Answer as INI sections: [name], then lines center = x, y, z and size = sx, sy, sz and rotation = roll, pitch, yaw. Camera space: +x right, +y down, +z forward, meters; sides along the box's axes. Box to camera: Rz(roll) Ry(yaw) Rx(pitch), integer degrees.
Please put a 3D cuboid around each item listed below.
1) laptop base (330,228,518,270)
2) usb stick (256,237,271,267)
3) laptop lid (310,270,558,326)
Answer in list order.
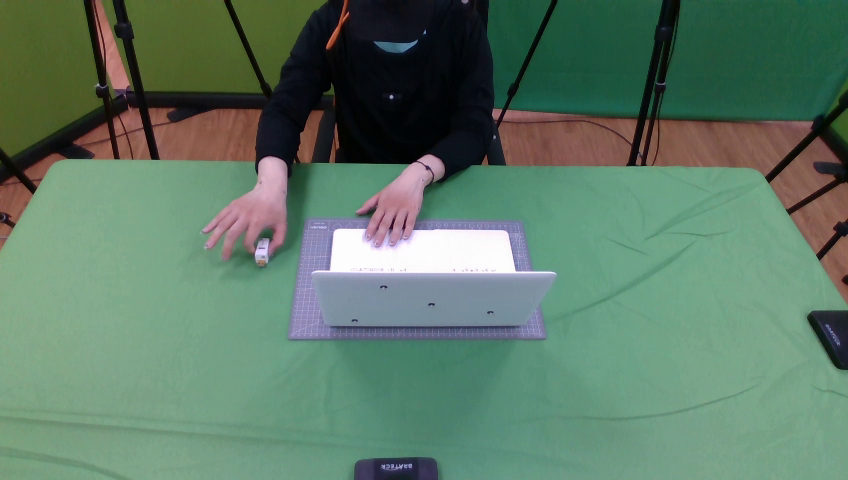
[laptop base]
center = 0.001, 0.063, 1.134
size = 0.354, 0.023, 0.234
rotation = 0, 43, -3
[usb stick]
center = -0.305, 0.023, 1.148
size = 0.021, 0.027, 0.059
rotation = 3, 50, -6
[laptop lid]
center = 0.011, 0.095, 0.948
size = 0.357, 0.242, 0.013
rotation = 1, 64, -4
